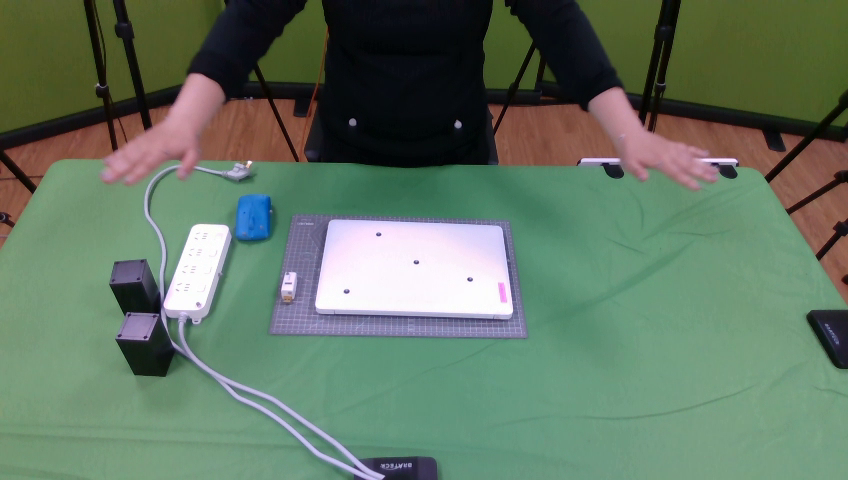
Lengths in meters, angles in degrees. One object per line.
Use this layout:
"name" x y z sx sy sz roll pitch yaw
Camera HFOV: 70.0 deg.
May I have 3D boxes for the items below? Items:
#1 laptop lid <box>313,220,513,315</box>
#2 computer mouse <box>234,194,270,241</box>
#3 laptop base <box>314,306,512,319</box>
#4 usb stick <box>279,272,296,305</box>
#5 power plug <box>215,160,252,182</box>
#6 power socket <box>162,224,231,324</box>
"laptop lid" -0.017 0.045 1.137 0.357 0.013 0.240 3 43 -1
"computer mouse" -0.341 -0.048 1.208 0.063 0.041 0.116 0 50 -8
"laptop base" -0.018 0.055 1.144 0.354 0.023 0.234 2 42 -2
"usb stick" -0.245 0.088 1.086 0.021 0.027 0.059 1 50 1
"power plug" -0.409 -0.155 1.303 0.072 0.035 0.052 23 66 3
"power socket" -0.411 0.053 1.106 0.072 0.033 0.225 3 46 -2
